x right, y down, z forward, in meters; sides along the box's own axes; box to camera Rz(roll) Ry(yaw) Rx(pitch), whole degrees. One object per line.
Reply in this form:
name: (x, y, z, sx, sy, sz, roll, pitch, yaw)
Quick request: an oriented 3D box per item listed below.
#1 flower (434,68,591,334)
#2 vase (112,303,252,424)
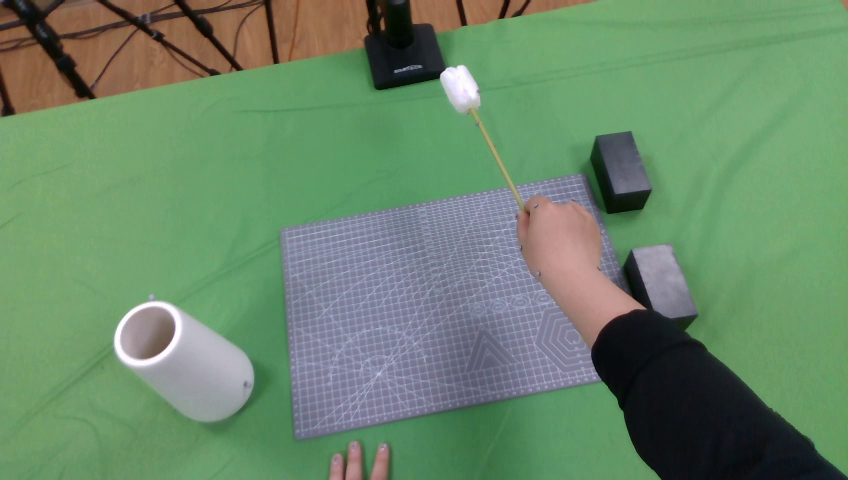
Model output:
flower: (0.095, -0.055, 0.674, 0.038, 0.044, 0.358, -41, 60, 33)
vase: (-0.263, 0.139, 0.676, 0.098, 0.201, 0.097, -1, 61, 2)
